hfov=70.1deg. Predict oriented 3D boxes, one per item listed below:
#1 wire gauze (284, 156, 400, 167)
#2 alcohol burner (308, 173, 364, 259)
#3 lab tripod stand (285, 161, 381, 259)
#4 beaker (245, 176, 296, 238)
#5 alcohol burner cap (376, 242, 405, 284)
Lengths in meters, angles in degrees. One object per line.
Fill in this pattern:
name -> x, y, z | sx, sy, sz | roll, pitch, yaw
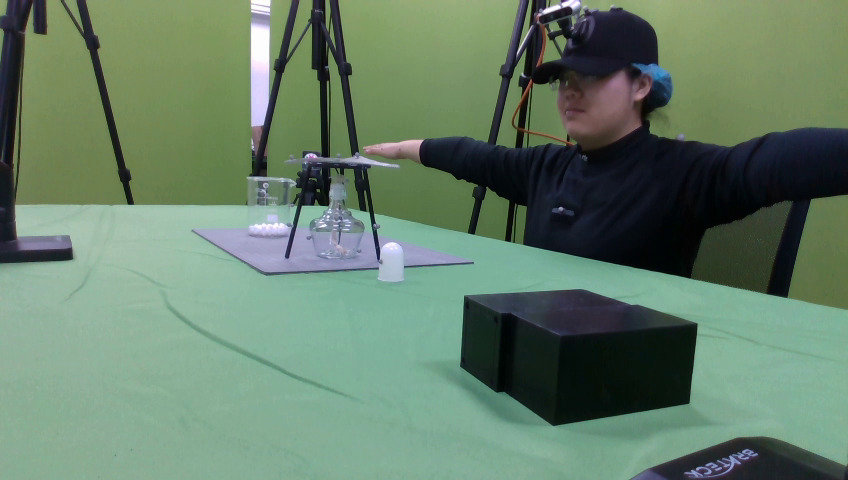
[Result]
wire gauze -> -0.115, -0.110, 0.835 | 0.126, 0.011, 0.121 | -3, 10, -30
alcohol burner -> -0.121, -0.033, 0.843 | 0.078, 0.119, 0.078 | 3, 5, 0
lab tripod stand -> -0.123, -0.043, 0.842 | 0.148, 0.131, 0.148 | 3, 9, 0
beaker -> -0.263, -0.057, 1.034 | 0.084, 0.100, 0.074 | 1, 8, -17
alcohol burner cap -> -0.039, 0.026, 0.710 | 0.034, 0.048, 0.034 | 3, 6, 0
